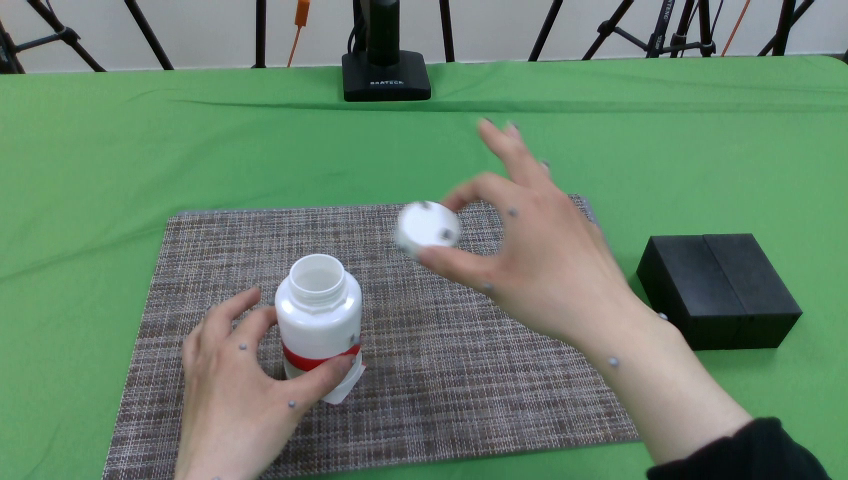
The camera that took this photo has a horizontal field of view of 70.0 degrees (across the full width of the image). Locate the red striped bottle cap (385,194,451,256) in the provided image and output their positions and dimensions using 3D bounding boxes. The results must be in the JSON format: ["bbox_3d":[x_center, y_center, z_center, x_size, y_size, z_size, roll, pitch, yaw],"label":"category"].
[{"bbox_3d":[-0.004,-0.011,0.419,0.045,0.018,0.044,9,51,-11],"label":"red striped bottle cap"}]

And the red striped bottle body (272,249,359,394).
[{"bbox_3d":[-0.082,0.061,0.467,0.063,0.120,0.062,3,45,-3],"label":"red striped bottle body"}]
